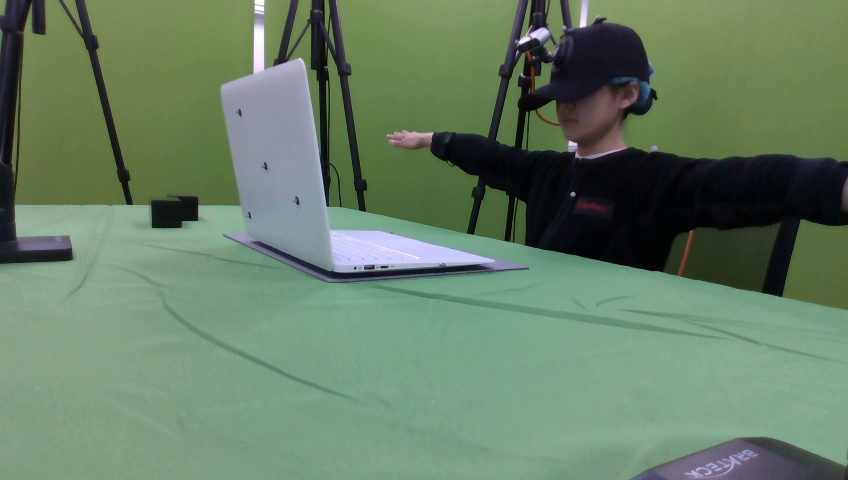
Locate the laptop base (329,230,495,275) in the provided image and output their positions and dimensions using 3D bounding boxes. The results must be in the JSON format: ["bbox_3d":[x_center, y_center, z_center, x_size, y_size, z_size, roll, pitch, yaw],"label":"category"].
[{"bbox_3d":[-0.093,0.015,0.883,0.237,0.023,0.352,3,6,-33],"label":"laptop base"}]

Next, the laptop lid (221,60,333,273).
[{"bbox_3d":[-0.205,-0.098,0.795,0.013,0.241,0.355,-13,16,-30],"label":"laptop lid"}]
